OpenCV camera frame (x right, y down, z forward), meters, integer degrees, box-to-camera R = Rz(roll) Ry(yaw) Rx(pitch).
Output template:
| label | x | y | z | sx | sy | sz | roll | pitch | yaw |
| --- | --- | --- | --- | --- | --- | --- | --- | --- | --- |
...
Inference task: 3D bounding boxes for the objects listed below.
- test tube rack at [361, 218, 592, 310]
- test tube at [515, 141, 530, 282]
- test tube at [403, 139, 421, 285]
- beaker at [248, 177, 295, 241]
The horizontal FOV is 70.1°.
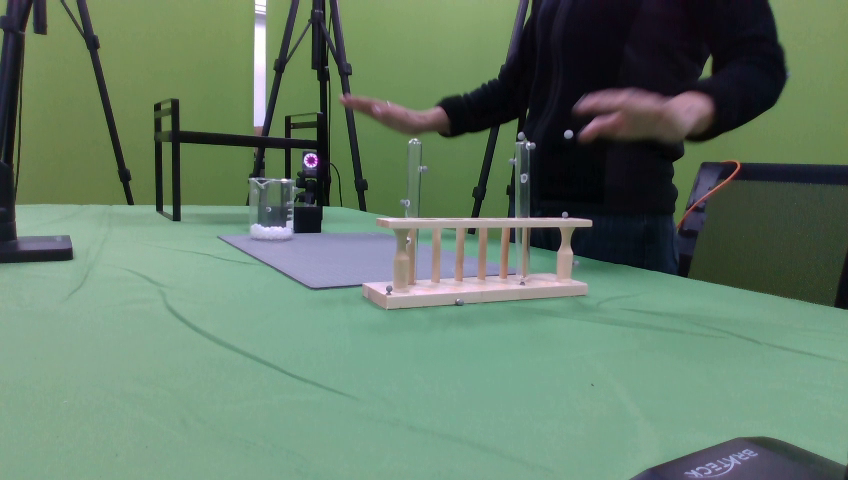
| label | x | y | z | sx | sy | sz | roll | pitch | yaw |
| --- | --- | --- | --- | --- | --- | --- | --- | --- | --- |
| test tube rack | 0.060 | 0.018 | 0.640 | 0.243 | 0.085 | 0.066 | -1 | 8 | -27 |
| test tube | 0.104 | -0.028 | 0.636 | 0.017 | 0.150 | 0.017 | -2 | 12 | 1 |
| test tube | -0.013 | -0.027 | 0.618 | 0.017 | 0.150 | 0.017 | 2 | 7 | 0 |
| beaker | -0.252 | -0.051 | 0.992 | 0.074 | 0.100 | 0.084 | 3 | 9 | 6 |
